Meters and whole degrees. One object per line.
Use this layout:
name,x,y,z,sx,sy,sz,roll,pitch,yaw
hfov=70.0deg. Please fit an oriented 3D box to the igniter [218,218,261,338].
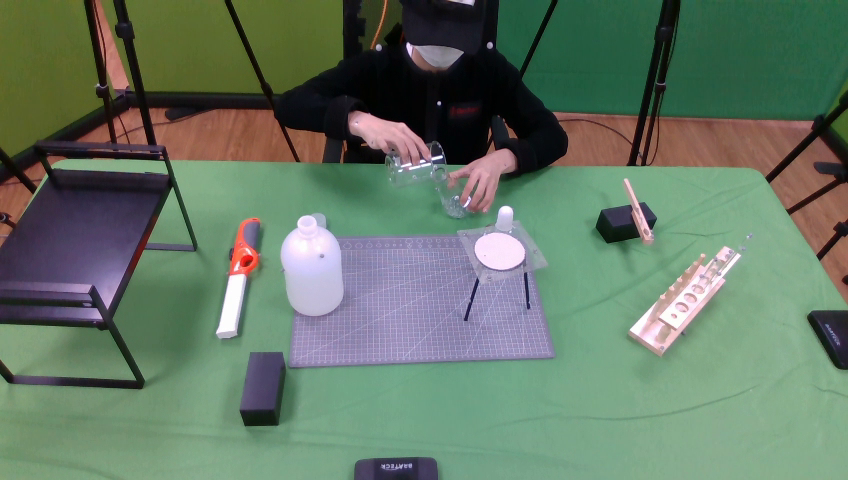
igniter,-0.336,0.060,1.111,0.057,0.025,0.274,-7,46,4

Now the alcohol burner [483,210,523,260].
alcohol burner,0.152,-0.018,1.156,0.078,0.120,0.077,0,47,0

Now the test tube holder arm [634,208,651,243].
test tube holder arm,0.428,-0.030,1.189,0.010,0.015,0.087,1,47,-2

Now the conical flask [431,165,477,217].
conical flask,0.054,-0.104,1.221,0.075,0.122,0.075,-13,58,22

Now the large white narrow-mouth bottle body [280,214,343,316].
large white narrow-mouth bottle body,-0.190,0.035,1.025,0.102,0.195,0.101,2,46,-2

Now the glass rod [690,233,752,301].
glass rod,0.507,0.053,1.041,0.008,0.200,0.008,5,50,-6

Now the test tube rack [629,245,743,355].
test tube rack,0.474,0.095,1.091,0.242,0.085,0.066,-34,56,-31

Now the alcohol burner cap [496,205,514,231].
alcohol burner cap,0.153,-0.045,1.131,0.034,0.048,0.033,2,40,-1

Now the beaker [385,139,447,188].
beaker,-0.017,-0.139,1.136,0.100,0.084,0.073,-16,46,-17

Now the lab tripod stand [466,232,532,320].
lab tripod stand,0.125,0.059,1.065,0.148,0.132,0.147,1,45,0

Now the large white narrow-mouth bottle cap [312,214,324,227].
large white narrow-mouth bottle cap,-0.219,-0.033,1.214,0.038,0.024,0.037,2,46,-2

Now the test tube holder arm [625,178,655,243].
test tube holder arm,0.433,-0.062,1.220,0.013,0.015,0.177,1,47,-3

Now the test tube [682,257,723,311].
test tube,0.475,0.080,1.037,0.017,0.151,0.017,1,51,-1

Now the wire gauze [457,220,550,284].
wire gauze,0.131,0.014,1.016,0.121,0.011,0.124,-11,46,-14
